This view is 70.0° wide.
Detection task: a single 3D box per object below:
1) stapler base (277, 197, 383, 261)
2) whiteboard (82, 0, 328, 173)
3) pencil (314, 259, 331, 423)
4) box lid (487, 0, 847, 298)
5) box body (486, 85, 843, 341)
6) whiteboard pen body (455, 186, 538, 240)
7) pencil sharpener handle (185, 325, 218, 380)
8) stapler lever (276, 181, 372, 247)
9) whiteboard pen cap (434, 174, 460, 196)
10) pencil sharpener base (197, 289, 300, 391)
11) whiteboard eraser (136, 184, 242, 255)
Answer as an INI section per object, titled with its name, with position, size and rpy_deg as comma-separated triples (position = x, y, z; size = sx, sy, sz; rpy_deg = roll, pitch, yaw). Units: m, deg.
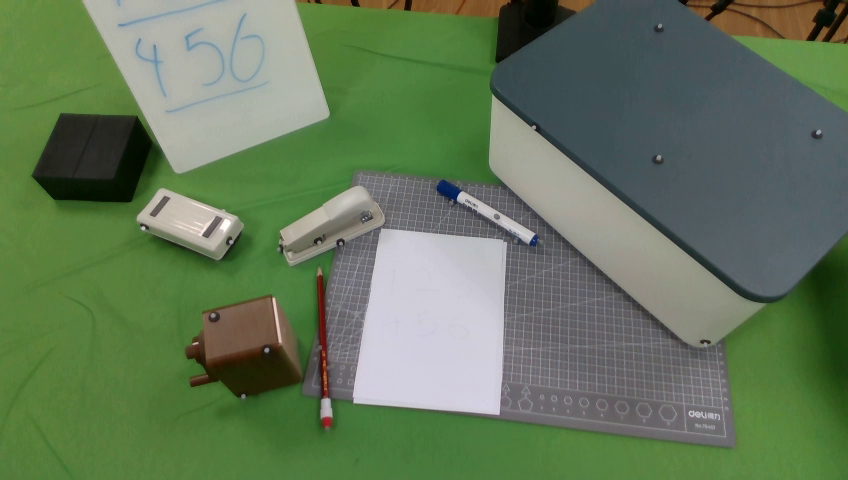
[stapler base]
position = -0.114, -0.020, 0.731
size = 0.130, 0.024, 0.041
rpy_deg = -26, 59, -10
[whiteboard]
position = -0.279, -0.279, 0.753
size = 0.217, 0.308, 0.142
rpy_deg = -24, 44, -12
[pencil]
position = -0.114, 0.105, 0.668
size = 0.012, 0.012, 0.192
rpy_deg = -7, 60, -4
[box lid]
position = 0.272, -0.134, 0.631
size = 0.263, 0.015, 0.368
rpy_deg = -37, 67, -19
[box body]
position = 0.273, -0.095, 0.694
size = 0.254, 0.161, 0.361
rpy_deg = -37, 66, -19
[whiteboard pen body]
position = 0.077, -0.039, 0.740
size = 0.140, 0.017, 0.017
rpy_deg = 32, 65, 19
[pencil sharpener handle]
position = -0.224, 0.114, 0.594
size = 0.031, 0.068, 0.035
rpy_deg = -14, 45, -7
[stapler lever]
position = -0.117, -0.032, 0.709
size = 0.118, 0.040, 0.026
rpy_deg = -26, 59, -11
[whiteboard pen cap]
position = 0.030, -0.068, 0.760
size = 0.033, 0.018, 0.018
rpy_deg = 33, 65, 19
[pencil sharpener base]
position = -0.175, 0.105, 0.614
size = 0.077, 0.108, 0.061
rpy_deg = -14, 61, -7
[whiteboard eraser]
position = -0.280, -0.023, 0.724
size = 0.112, 0.042, 0.055
rpy_deg = 21, 65, 10
